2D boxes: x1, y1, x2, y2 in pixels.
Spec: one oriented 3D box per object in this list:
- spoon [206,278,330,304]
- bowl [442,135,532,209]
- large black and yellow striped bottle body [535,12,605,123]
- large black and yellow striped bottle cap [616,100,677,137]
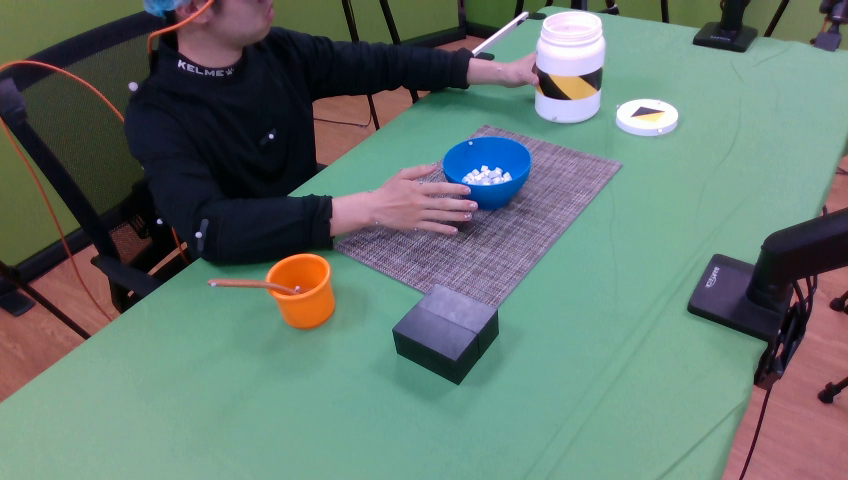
[{"bbox_3d":[-0.207,0.066,0.824,0.041,0.195,0.021,34,100,40],"label":"spoon"},{"bbox_3d":[0.108,-0.106,1.026,0.151,0.077,0.150,-4,41,4],"label":"bowl"},{"bbox_3d":[0.288,-0.341,1.197,0.131,0.185,0.130,-4,41,4],"label":"large black and yellow striped bottle body"},{"bbox_3d":[0.438,-0.241,1.190,0.115,0.019,0.114,-4,42,4],"label":"large black and yellow striped bottle cap"}]
